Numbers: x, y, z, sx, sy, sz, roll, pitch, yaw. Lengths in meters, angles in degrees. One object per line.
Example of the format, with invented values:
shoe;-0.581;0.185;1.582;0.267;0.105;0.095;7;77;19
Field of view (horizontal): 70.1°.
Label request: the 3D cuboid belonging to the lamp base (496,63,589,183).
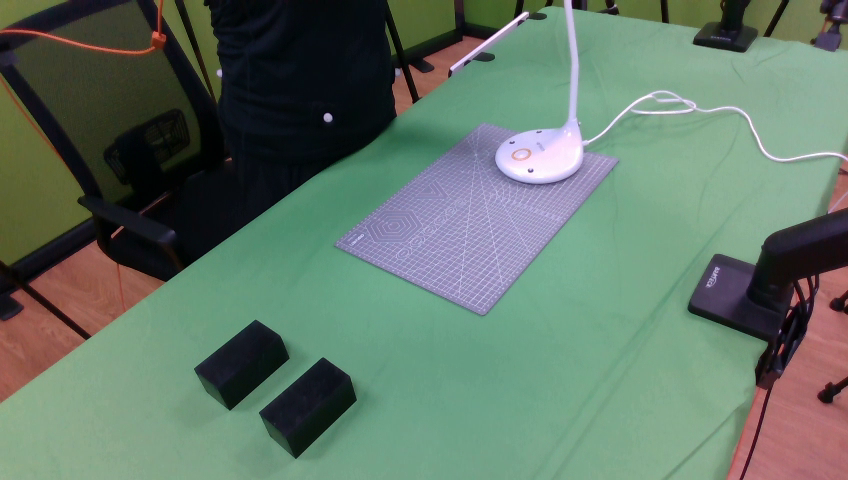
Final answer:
lamp base;0.216;-0.217;1.067;0.180;0.181;0.159;-19;42;-18
